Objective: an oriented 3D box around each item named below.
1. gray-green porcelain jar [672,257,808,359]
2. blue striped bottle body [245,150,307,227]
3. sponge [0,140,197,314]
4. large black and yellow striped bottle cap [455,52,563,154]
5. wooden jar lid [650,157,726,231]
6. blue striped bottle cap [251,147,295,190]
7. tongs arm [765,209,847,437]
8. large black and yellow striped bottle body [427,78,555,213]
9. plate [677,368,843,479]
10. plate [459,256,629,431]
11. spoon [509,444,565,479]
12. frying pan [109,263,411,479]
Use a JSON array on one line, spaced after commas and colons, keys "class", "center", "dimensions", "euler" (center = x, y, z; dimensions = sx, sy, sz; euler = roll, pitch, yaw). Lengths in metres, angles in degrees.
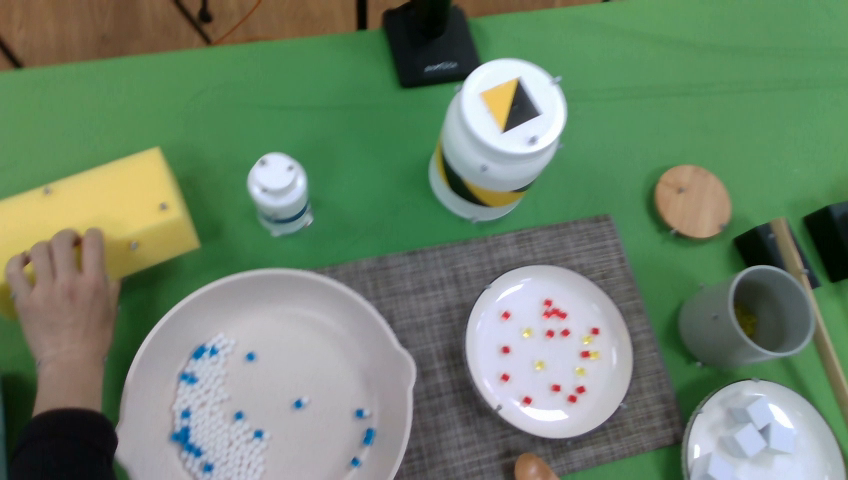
[{"class": "gray-green porcelain jar", "center": [0.375, 0.088, 0.738], "dimensions": [0.106, 0.127, 0.105], "euler": [3, 72, -8]}, {"class": "blue striped bottle body", "center": [-0.169, -0.063, 0.698], "dimensions": [0.063, 0.121, 0.062], "euler": [3, 73, -8]}, {"class": "sponge", "center": [-0.373, -0.019, 0.665], "dimensions": [0.207, 0.061, 0.117], "euler": [-24, 57, -16]}, {"class": "large black and yellow striped bottle cap", "center": [0.091, -0.147, 0.642], "dimensions": [0.115, 0.019, 0.114], "euler": [3, 72, -7]}, {"class": "wooden jar lid", "center": [0.362, -0.062, 0.837], "dimensions": [0.108, 0.021, 0.108], "euler": [2, 74, -8]}, {"class": "blue striped bottle cap", "center": [-0.162, -0.077, 0.650], "dimensions": [0.044, 0.021, 0.044], "euler": [2, 70, -6]}, {"class": "tongs arm", "center": [0.517, 0.139, 0.763], "dimensions": [0.051, 0.026, 0.384], "euler": [-16, 87, -16]}, {"class": "large black and yellow striped bottle body", "center": [0.079, -0.121, 0.723], "dimensions": [0.131, 0.184, 0.130], "euler": [3, 72, -8]}, {"class": "plate", "center": [0.401, 0.261, 0.736], "dimensions": [0.208, 0.039, 0.206], "euler": [3, 73, -8]}, {"class": "plate", "center": [0.142, 0.122, 0.732], "dimensions": [0.209, 0.038, 0.208], "euler": [3, 73, -8]}, {"class": "spoon", "center": [0.180, 0.293, 0.696], "dimensions": [0.194, 0.022, 0.041], "euler": [29, 54, -1]}, {"class": "frying pan", "center": [-0.136, 0.263, 0.612], "dimensions": [0.307, 0.103, 0.483], "euler": [-13, 67, -10]}]
